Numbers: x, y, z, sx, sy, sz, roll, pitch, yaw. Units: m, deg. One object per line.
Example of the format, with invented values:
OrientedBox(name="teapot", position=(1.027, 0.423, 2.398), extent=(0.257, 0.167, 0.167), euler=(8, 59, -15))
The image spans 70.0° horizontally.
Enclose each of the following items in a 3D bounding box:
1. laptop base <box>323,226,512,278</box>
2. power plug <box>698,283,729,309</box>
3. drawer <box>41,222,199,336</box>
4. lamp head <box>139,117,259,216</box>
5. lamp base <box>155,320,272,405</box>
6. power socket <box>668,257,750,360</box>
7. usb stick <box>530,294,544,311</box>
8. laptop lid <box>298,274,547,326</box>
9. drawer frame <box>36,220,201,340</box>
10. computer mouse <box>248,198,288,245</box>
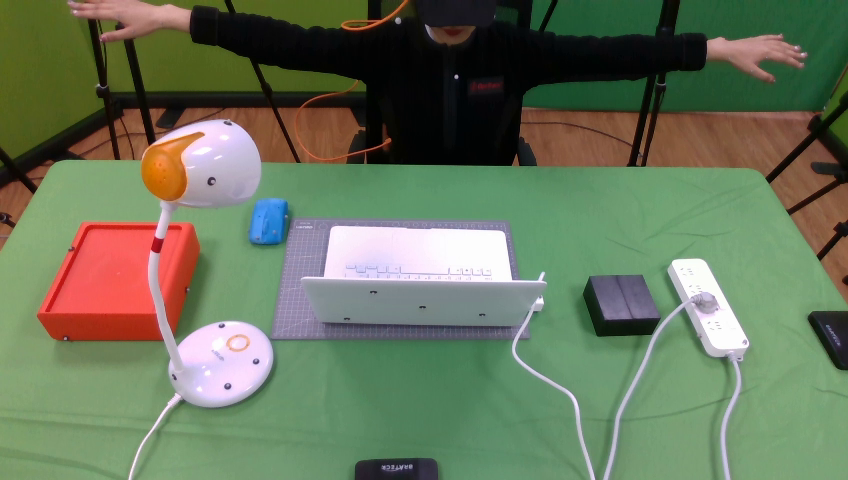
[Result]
OrientedBox(name="laptop base", position=(-0.011, 0.063, 1.137), extent=(0.354, 0.023, 0.234), euler=(1, 43, -3))
OrientedBox(name="power plug", position=(0.510, 0.096, 1.060), extent=(0.052, 0.073, 0.035), euler=(-20, 61, 8))
OrientedBox(name="drawer", position=(-0.519, 0.064, 1.058), extent=(0.195, 0.073, 0.210), euler=(1, 46, -4))
OrientedBox(name="lamp head", position=(-0.281, -0.086, 0.734), extent=(0.112, 0.113, 0.123), euler=(21, 25, 16))
OrientedBox(name="lamp base", position=(-0.330, 0.149, 0.918), extent=(0.160, 0.181, 0.179), euler=(26, 52, 20))
OrientedBox(name="power socket", position=(0.517, 0.117, 1.109), extent=(0.072, 0.033, 0.225), euler=(-3, 47, -4))
OrientedBox(name="usb stick", position=(0.183, 0.111, 1.086), extent=(0.059, 0.027, 0.021), euler=(0, 47, -4))
OrientedBox(name="laptop lid", position=(-0.004, 0.099, 0.947), extent=(0.357, 0.242, 0.013), euler=(2, 67, -4))
OrientedBox(name="drawer frame", position=(-0.518, 0.065, 1.055), extent=(0.202, 0.083, 0.212), euler=(0, 47, -5))
OrientedBox(name="computer mouse", position=(-0.309, -0.041, 1.205), extent=(0.063, 0.041, 0.116), euler=(3, 50, -3))
